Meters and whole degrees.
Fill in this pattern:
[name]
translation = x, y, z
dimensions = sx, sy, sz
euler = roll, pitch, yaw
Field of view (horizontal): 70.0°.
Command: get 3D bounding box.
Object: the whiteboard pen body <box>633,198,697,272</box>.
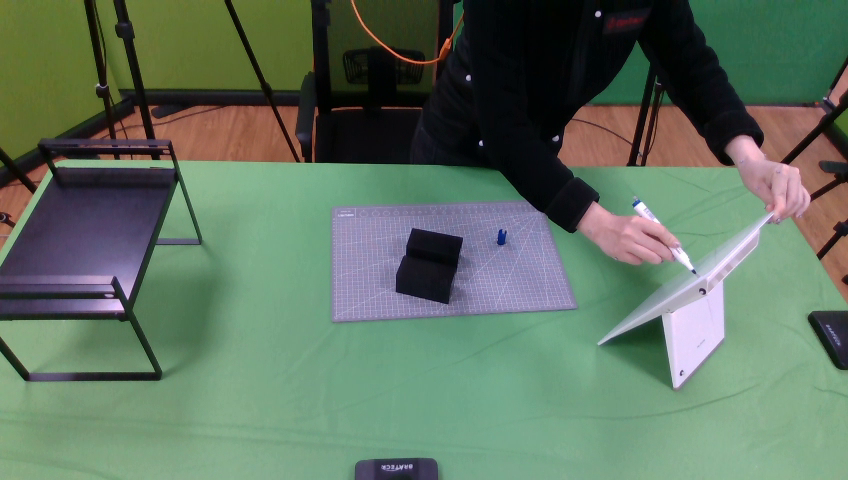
[whiteboard pen body]
translation = 0.368, -0.006, 0.924
dimensions = 0.017, 0.017, 0.140
euler = -30, 76, -28

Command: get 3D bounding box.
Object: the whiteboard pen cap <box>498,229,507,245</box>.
[whiteboard pen cap]
translation = 0.155, -0.005, 1.202
dimensions = 0.018, 0.033, 0.018
euler = 1, 45, 0

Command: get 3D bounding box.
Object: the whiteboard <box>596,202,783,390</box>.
[whiteboard]
translation = 0.460, 0.112, 0.967
dimensions = 0.217, 0.306, 0.143
euler = -31, 74, -29
